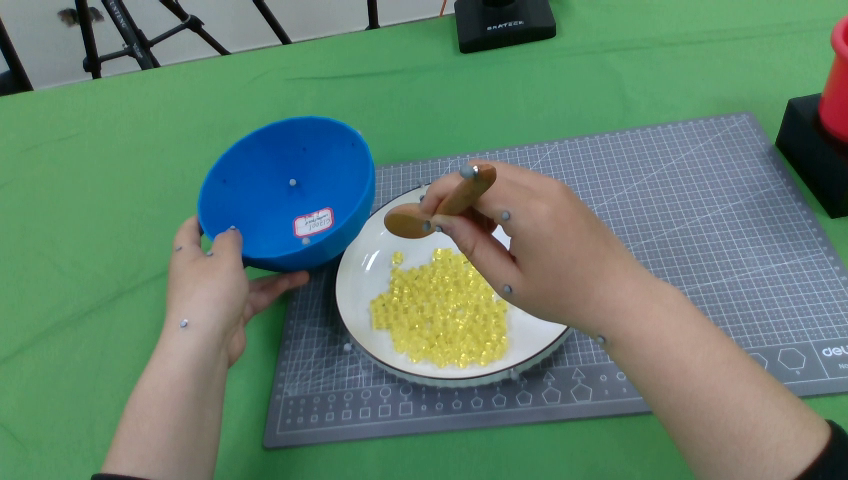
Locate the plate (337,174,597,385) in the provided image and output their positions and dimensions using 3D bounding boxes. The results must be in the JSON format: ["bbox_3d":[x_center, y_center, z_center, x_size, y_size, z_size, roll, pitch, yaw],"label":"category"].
[{"bbox_3d":[0.034,0.029,0.497,0.207,0.039,0.205,-7,48,8],"label":"plate"}]

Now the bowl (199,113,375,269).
[{"bbox_3d":[-0.107,-0.029,0.528,0.151,0.077,0.150,-6,55,9],"label":"bowl"}]

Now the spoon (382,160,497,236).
[{"bbox_3d":[0.008,-0.019,0.359,0.042,0.193,0.021,11,84,-13],"label":"spoon"}]
